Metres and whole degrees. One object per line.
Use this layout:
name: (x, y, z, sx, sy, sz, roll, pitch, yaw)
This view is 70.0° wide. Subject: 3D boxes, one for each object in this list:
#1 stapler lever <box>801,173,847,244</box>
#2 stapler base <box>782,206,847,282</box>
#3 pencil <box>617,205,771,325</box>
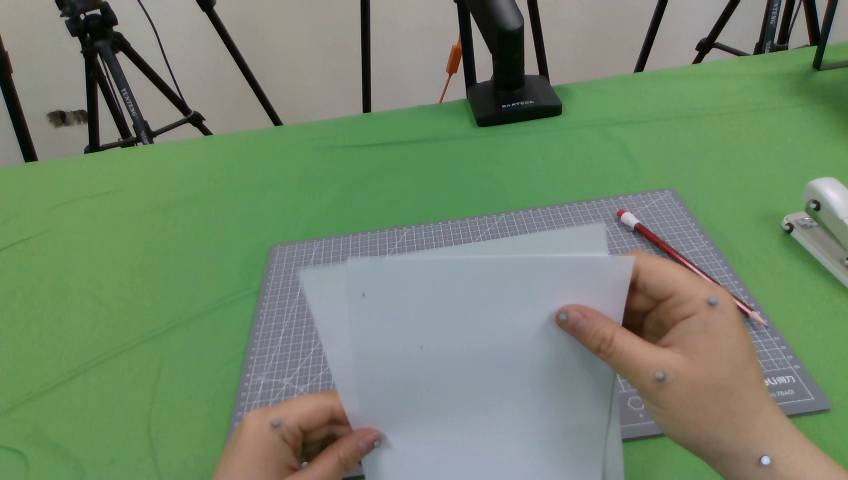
stapler lever: (0.379, -0.016, 0.533, 0.027, 0.040, 0.117, -13, 40, -2)
stapler base: (0.381, 0.003, 0.550, 0.041, 0.025, 0.129, -13, 40, -2)
pencil: (0.243, 0.018, 0.563, 0.012, 0.012, 0.192, -20, 40, -14)
